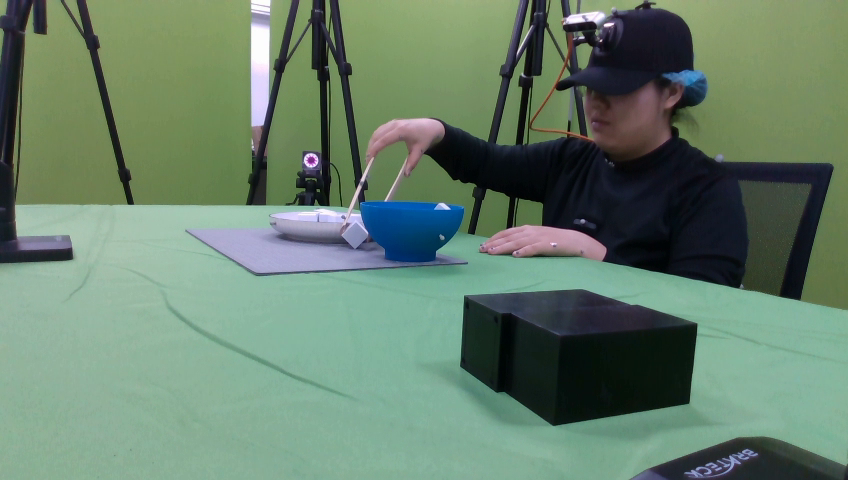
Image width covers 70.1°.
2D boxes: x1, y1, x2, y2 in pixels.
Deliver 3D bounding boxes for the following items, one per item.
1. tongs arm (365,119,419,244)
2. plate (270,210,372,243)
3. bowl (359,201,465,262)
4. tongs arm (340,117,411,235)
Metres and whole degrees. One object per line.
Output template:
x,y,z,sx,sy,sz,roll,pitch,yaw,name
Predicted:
-0.052,-0.116,1.074,0.028,0.028,0.387,15,38,1,tongs arm
-0.161,-0.023,1.055,0.208,0.039,0.207,3,7,0,plate
-0.018,-0.013,0.859,0.151,0.077,0.151,2,7,0,bowl
-0.078,-0.125,1.073,0.051,0.026,0.384,16,38,-3,tongs arm
